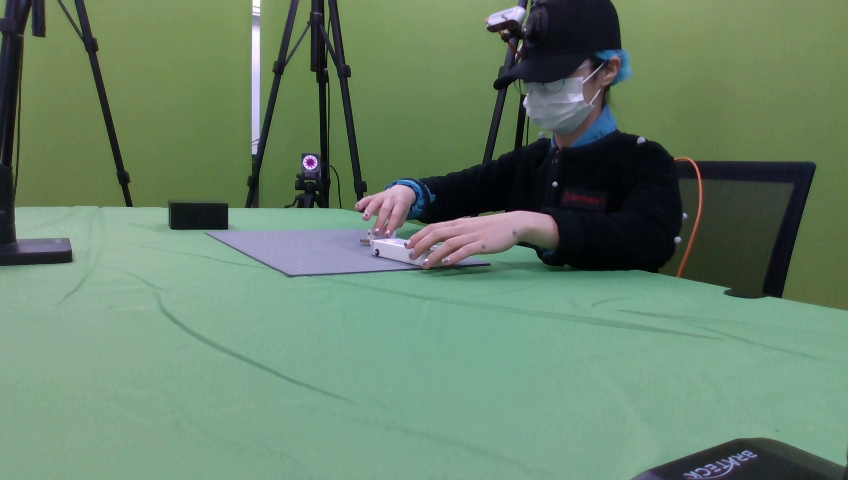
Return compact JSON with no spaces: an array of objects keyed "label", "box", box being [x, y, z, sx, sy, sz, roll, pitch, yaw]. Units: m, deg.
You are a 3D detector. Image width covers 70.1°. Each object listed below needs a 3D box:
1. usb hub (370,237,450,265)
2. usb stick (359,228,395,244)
[{"label":"usb hub","box":[-0.022,0.014,0.861,0.050,0.025,0.124,-4,9,-41]},{"label":"usb stick","box":[-0.079,-0.007,1.009,0.059,0.027,0.021,-3,8,-19]}]
